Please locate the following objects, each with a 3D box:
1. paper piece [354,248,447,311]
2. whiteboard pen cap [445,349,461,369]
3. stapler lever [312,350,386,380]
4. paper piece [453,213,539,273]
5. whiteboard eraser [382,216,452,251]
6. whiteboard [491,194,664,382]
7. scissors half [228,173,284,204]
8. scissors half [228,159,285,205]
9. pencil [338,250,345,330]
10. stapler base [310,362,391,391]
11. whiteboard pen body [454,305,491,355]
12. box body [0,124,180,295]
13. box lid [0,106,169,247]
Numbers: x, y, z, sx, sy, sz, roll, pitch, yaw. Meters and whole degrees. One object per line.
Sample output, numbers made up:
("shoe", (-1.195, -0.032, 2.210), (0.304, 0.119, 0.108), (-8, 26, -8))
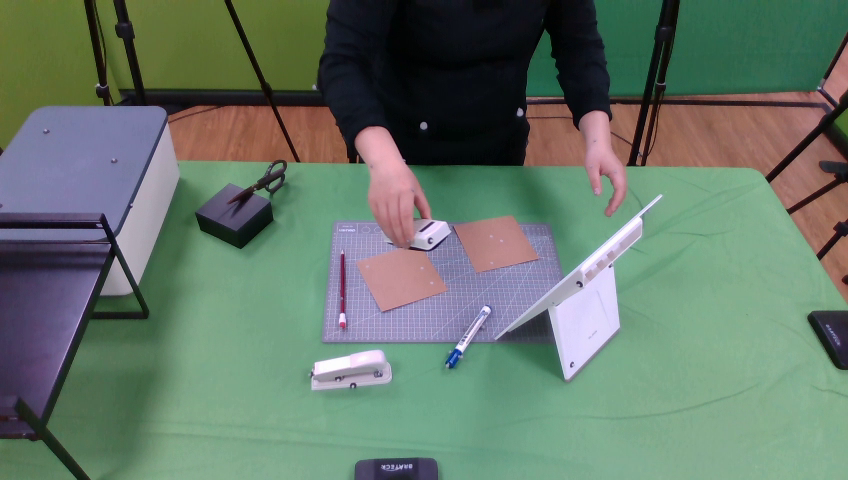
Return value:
("paper piece", (-0.045, 0.066, 1.137), (0.136, 0.009, 0.137), (-14, 47, -22))
("whiteboard pen cap", (0.049, 0.197, 1.011), (0.018, 0.018, 0.033), (23, 49, 17))
("stapler lever", (-0.120, 0.198, 0.963), (0.118, 0.040, 0.026), (-4, 44, -8))
("paper piece", (0.142, 0.003, 1.213), (0.135, 0.004, 0.135), (-11, 48, -11))
("whiteboard eraser", (-0.011, -0.009, 0.962), (0.055, 0.042, 0.112), (-35, 28, -34))
("whiteboard", (0.280, 0.100, 0.969), (0.217, 0.306, 0.143), (-33, 77, -31))
("scissors half", (-0.339, -0.101, 1.229), (0.013, 0.040, 0.175), (24, 29, 14))
("scissors half", (-0.334, -0.116, 1.217), (0.013, 0.040, 0.175), (28, 46, 10))
("pencil", (-0.152, 0.085, 1.108), (0.012, 0.012, 0.192), (-2, 44, -7))
("stapler base", (-0.119, 0.215, 0.980), (0.131, 0.024, 0.041), (-5, 44, -7))
("whiteboard pen body", (0.079, 0.163, 1.047), (0.017, 0.017, 0.140), (25, 50, 19))
("box body", (-0.628, -0.075, 1.122), (0.254, 0.161, 0.361), (1, 46, -4))
("box lid", (-0.624, -0.125, 1.067), (0.263, 0.015, 0.369), (0, 46, -3))
